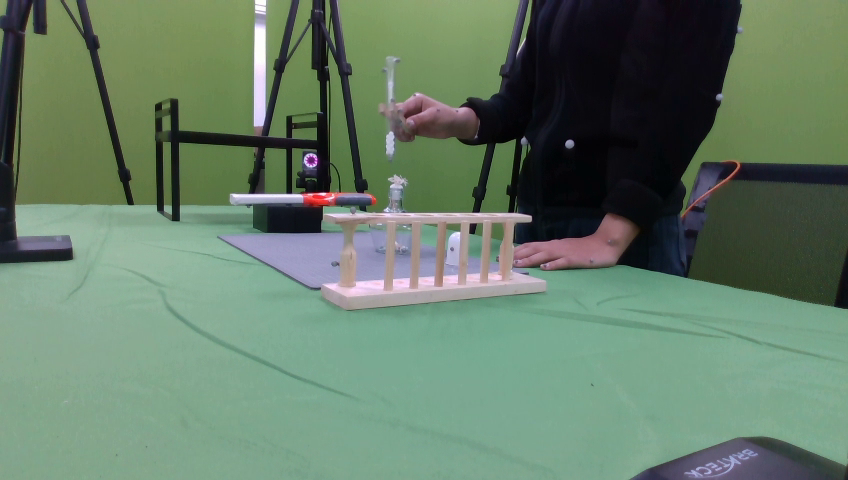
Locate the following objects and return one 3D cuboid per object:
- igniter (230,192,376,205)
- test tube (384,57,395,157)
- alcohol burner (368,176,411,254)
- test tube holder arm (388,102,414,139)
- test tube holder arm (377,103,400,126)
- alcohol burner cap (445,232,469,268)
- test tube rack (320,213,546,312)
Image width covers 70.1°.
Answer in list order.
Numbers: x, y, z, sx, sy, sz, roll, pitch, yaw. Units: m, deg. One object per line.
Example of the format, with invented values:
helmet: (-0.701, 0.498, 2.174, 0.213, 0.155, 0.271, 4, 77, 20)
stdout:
igniter: (-0.226, -0.079, 1.161, 0.278, 0.025, 0.057, -2, 15, -28)
test tube: (-0.053, -0.200, 0.911, 0.017, 0.150, 0.017, 0, -1, 0)
alcohol burner: (-0.045, -0.038, 0.912, 0.078, 0.119, 0.078, 4, 7, 0)
test tube holder arm: (-0.035, -0.190, 0.976, 0.013, 0.015, 0.179, -2, -4, 11)
test tube holder arm: (-0.051, -0.192, 0.934, 0.010, 0.015, 0.088, -3, -4, 19)
alcohol burner cap: (0.046, 0.013, 0.829, 0.034, 0.048, 0.034, 2, 8, 0)
test tube rack: (0.018, 0.017, 0.638, 0.244, 0.085, 0.066, -2, 9, -31)
